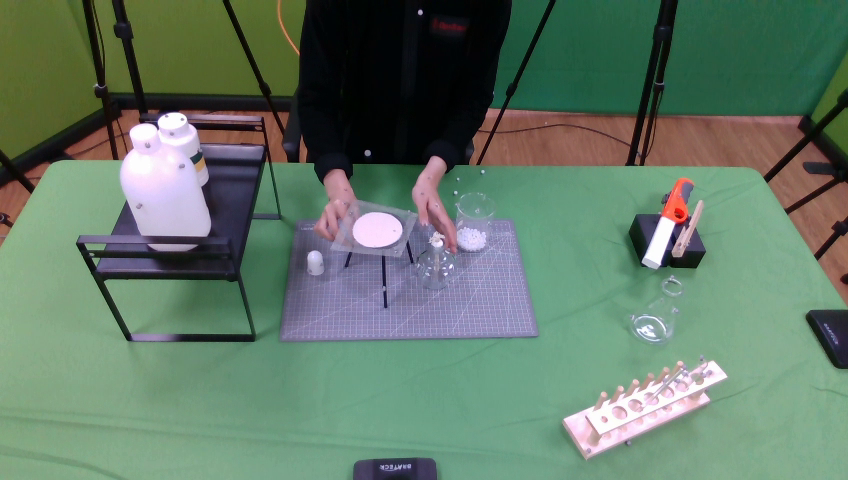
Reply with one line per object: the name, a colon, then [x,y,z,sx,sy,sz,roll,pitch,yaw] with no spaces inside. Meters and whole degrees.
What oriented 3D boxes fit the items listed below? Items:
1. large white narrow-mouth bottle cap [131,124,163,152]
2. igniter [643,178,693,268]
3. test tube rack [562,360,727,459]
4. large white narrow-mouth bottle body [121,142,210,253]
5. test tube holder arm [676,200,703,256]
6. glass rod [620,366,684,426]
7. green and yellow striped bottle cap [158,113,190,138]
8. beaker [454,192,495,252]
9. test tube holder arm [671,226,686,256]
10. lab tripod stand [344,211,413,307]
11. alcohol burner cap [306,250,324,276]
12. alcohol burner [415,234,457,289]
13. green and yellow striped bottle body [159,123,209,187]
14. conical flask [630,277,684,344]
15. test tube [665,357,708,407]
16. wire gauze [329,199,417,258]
large white narrow-mouth bottle cap: [-0.371,-0.137,0.812,0.038,0.024,0.037,3,46,-3]
igniter: [0.488,-0.042,1.205,0.057,0.025,0.276,30,51,11]
test tube rack: [0.341,0.247,0.940,0.243,0.085,0.066,-16,49,-18]
large white narrow-mouth bottle body: [-0.378,-0.077,0.875,0.102,0.195,0.101,3,46,-3]
test tube holder arm: [0.523,-0.025,1.190,0.013,0.015,0.178,1,36,42]
glass rod: [0.322,0.227,0.866,0.008,0.200,0.008,5,51,-7]
green and yellow striped bottle cap: [-0.393,-0.180,0.951,0.045,0.020,0.045,2,44,-2]
beaker: [0.097,-0.034,1.180,0.074,0.101,0.084,23,48,17]
test tube holder arm: [0.494,0.001,1.166,0.010,0.015,0.087,1,36,42]
lab tripod stand: [-0.081,0.025,1.086,0.148,0.132,0.147,1,47,-1]
alcohol burner cap: [-0.204,0.041,1.125,0.034,0.048,0.033,2,45,-2]
alcohol burner: [0.022,0.034,1.099,0.078,0.120,0.077,1,47,0]
green and yellow striped bottle body: [-0.395,-0.145,0.989,0.063,0.120,0.063,2,46,-2]
conical flask: [0.408,0.117,1.045,0.075,0.122,0.075,2,46,-2]
test tube: [0.387,0.215,0.905,0.017,0.151,0.017,1,52,-1]
wire gauze: [-0.085,-0.019,1.034,0.121,0.011,0.124,11,46,8]
